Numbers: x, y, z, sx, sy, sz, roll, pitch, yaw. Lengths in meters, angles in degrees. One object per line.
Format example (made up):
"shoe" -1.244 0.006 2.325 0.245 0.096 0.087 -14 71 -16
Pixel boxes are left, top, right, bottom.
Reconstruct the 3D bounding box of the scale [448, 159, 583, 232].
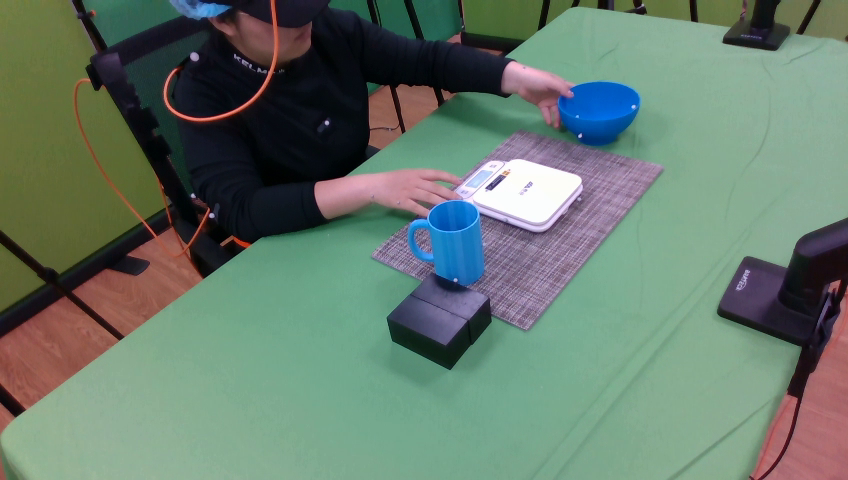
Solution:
"scale" 0.156 -0.085 1.039 0.199 0.032 0.149 22 49 32

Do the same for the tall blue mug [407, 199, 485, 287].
"tall blue mug" 0.034 0.008 0.892 0.107 0.108 0.077 -13 41 -5

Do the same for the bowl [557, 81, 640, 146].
"bowl" 0.330 -0.232 1.152 0.151 0.077 0.150 -5 40 5
